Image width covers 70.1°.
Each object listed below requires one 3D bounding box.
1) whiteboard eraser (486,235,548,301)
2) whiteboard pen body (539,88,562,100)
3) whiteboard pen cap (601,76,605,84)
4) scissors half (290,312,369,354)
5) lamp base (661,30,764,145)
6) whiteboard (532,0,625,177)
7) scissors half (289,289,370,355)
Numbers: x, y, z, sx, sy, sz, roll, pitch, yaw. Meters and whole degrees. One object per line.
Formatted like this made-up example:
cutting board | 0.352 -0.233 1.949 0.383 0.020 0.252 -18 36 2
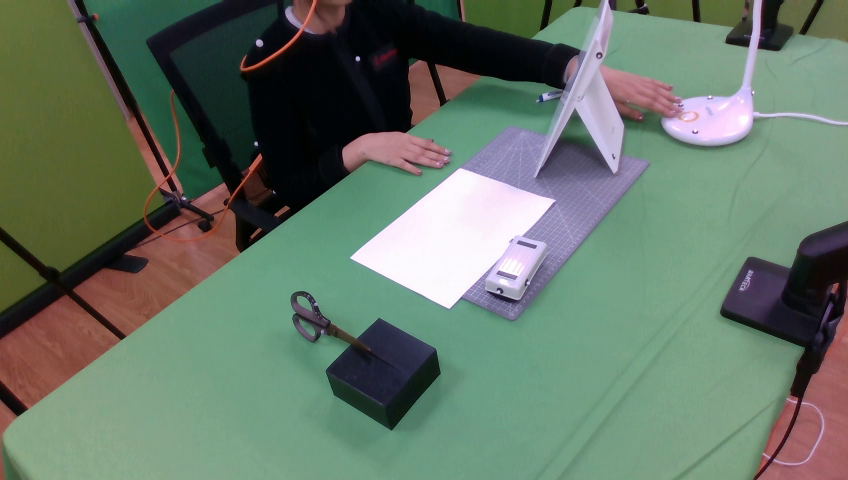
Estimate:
whiteboard eraser | 0.137 0.042 0.887 0.055 0.042 0.113 15 46 27
whiteboard pen body | 0.315 -0.324 1.303 0.141 0.017 0.017 -15 41 -3
whiteboard pen cap | 0.372 -0.340 1.305 0.033 0.018 0.018 -17 41 -1
scissors half | -0.128 0.129 0.816 0.013 0.040 0.173 -23 22 -40
lamp base | 0.535 -0.287 1.096 0.179 0.181 0.159 -10 40 -4
whiteboard | 0.320 -0.259 1.050 0.144 0.306 0.217 21 45 5
scissors half | -0.128 0.110 0.808 0.013 0.040 0.173 -17 36 -43
